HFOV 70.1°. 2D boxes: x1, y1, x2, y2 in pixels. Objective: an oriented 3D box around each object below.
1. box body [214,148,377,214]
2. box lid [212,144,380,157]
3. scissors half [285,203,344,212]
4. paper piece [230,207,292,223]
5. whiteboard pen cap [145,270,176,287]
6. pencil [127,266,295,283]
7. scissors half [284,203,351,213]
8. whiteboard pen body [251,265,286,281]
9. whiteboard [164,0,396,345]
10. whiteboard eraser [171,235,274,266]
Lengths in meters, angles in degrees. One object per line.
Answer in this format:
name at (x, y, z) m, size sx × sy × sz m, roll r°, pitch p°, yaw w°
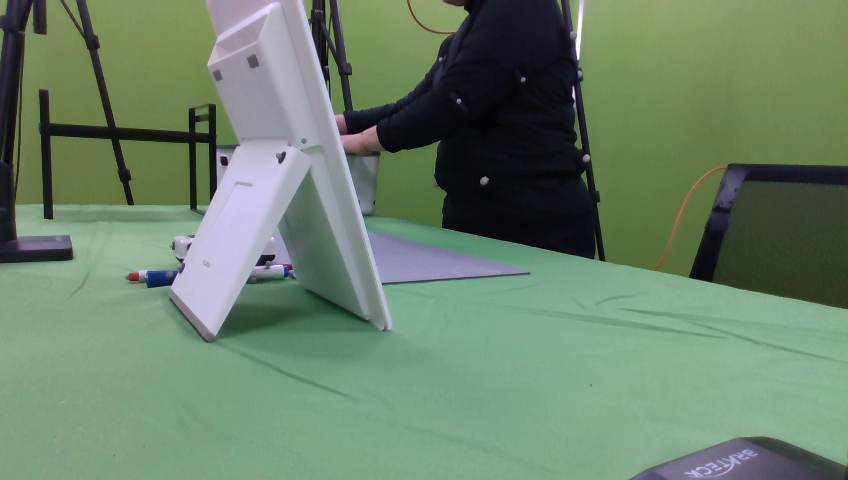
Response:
box body at (-0.328, -0.154, 1.543) m, size 0.366 × 0.160 × 0.253 m, roll -2°, pitch 9°, yaw -32°
box lid at (-0.326, -0.226, 1.533) m, size 0.373 × 0.015 × 0.262 m, roll -2°, pitch 8°, yaw -32°
scissors half at (-0.280, -0.081, 1.552) m, size 0.040 × 0.013 × 0.176 m, roll 1°, pitch 9°, yaw 45°
paper piece at (-0.395, -0.062, 1.461) m, size 0.139 × 0.008 × 0.135 m, roll 13°, pitch -4°, yaw -22°
whiteboard pen cap at (-0.271, 0.039, 0.627) m, size 0.033 × 0.018 × 0.018 m, roll -3°, pitch 10°, yaw -32°
pencil at (-0.231, 0.037, 0.691) m, size 0.195 × 0.012 × 0.012 m, roll -2°, pitch 9°, yaw -34°
scissors half at (-0.268, -0.079, 1.535) m, size 0.176 × 0.013 × 0.040 m, roll -7°, pitch 12°, yaw -23°
whiteboard pen body at (-0.220, 0.039, 0.656) m, size 0.141 × 0.017 × 0.017 m, roll -2°, pitch 9°, yaw -30°
whiteboard at (-0.172, -0.053, 0.511) m, size 0.144 × 0.305 × 0.216 m, roll -23°, pitch 19°, yaw -26°
whiteboard eraser at (-0.248, 0.014, 0.747) m, size 0.113 × 0.042 × 0.055 m, roll -1°, pitch 9°, yaw -32°
